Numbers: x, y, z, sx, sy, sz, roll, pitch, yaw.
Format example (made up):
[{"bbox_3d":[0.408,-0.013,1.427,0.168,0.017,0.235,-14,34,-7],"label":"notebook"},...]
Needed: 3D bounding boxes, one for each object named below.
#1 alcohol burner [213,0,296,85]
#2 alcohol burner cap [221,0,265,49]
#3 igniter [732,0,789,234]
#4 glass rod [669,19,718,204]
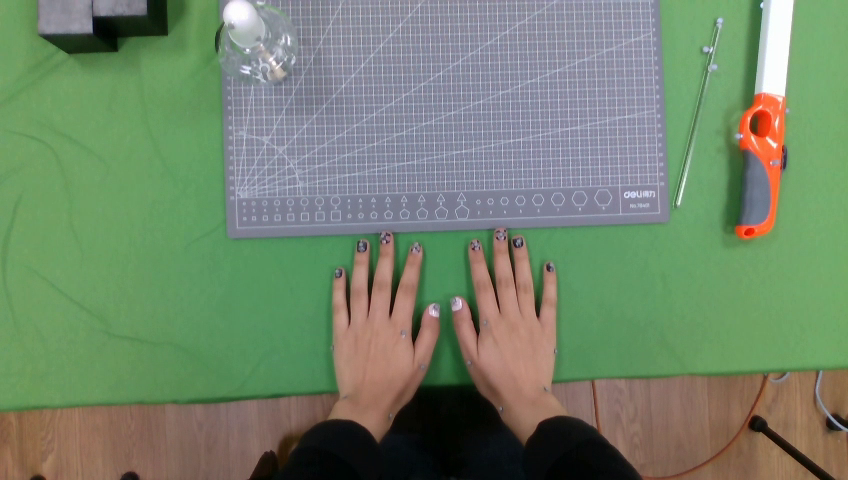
[{"bbox_3d":[-0.160,-0.187,0.556,0.078,0.119,0.078,0,86,-1],"label":"alcohol burner"},{"bbox_3d":[-0.157,-0.187,0.521,0.034,0.048,0.034,0,90,-6],"label":"alcohol burner cap"},{"bbox_3d":[0.350,-0.142,0.625,0.057,0.025,0.276,7,89,-12],"label":"igniter"},{"bbox_3d":[0.281,-0.134,0.632,0.008,0.008,0.199,14,88,-2],"label":"glass rod"}]
